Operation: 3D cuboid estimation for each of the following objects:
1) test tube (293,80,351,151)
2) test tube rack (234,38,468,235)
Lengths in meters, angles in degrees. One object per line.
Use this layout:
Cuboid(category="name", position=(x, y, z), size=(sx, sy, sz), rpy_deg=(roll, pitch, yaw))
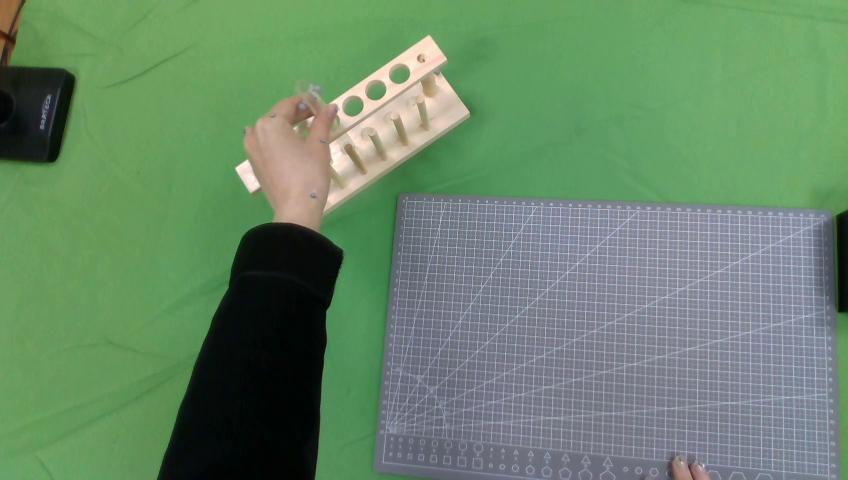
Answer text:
Cuboid(category="test tube", position=(-0.099, -0.121, 0.609), size=(0.017, 0.151, 0.017), rpy_deg=(-2, 78, 8))
Cuboid(category="test tube rack", position=(-0.073, -0.107, 0.656), size=(0.242, 0.085, 0.066), rpy_deg=(-34, 77, 1))
